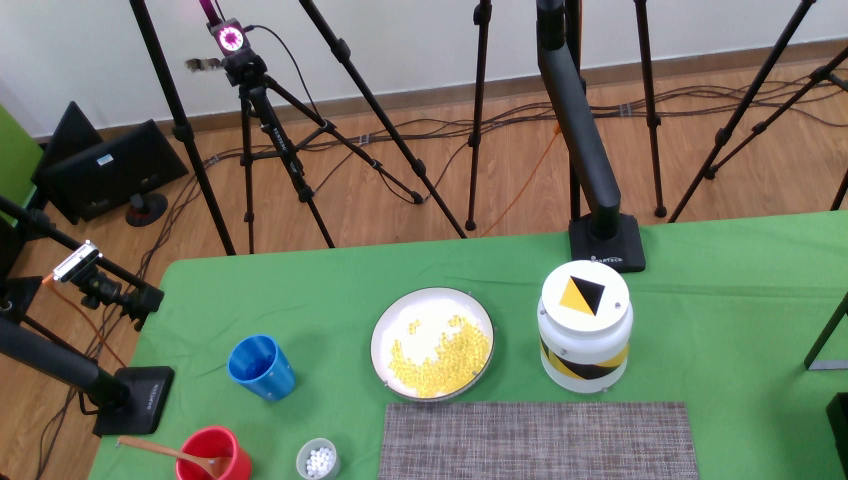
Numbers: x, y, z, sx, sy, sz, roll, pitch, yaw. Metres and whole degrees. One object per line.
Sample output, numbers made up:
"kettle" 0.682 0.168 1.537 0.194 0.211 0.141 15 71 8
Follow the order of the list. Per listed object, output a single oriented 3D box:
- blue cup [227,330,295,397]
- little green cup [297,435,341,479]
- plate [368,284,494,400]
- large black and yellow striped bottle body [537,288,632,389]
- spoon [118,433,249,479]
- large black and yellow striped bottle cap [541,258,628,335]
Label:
"blue cup" -0.259 0.211 0.992 0.092 0.101 0.091 -7 52 10
"little green cup" -0.156 0.331 0.916 0.061 0.039 0.061 -7 52 9
"plate" 0.012 0.169 1.001 0.209 0.038 0.207 -6 52 8
"large black and yellow striped bottle body" 0.233 0.125 0.888 0.130 0.186 0.129 -7 52 9
"spoon" -0.357 0.319 0.906 0.195 0.021 0.041 27 54 -21
"large black and yellow striped bottle cap" 0.217 0.075 0.822 0.115 0.019 0.114 -7 52 10
